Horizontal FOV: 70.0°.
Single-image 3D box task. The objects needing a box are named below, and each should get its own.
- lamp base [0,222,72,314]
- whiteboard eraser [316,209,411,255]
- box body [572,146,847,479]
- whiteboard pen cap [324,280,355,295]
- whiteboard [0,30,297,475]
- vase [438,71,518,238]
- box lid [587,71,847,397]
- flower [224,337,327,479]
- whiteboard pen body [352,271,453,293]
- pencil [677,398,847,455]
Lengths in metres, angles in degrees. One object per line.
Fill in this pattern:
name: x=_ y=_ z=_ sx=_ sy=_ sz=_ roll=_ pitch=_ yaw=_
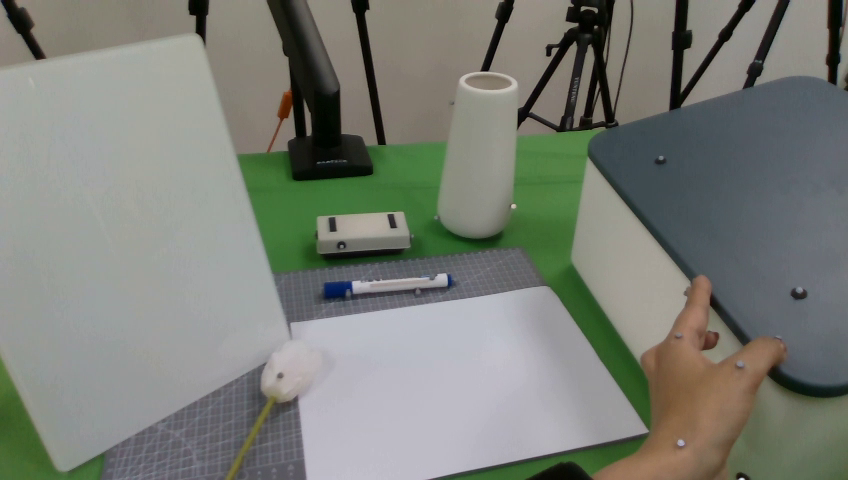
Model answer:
lamp base: x=-0.481 y=-0.033 z=0.619 sx=0.178 sy=0.182 sz=0.160 roll=17 pitch=37 yaw=22
whiteboard eraser: x=-0.075 y=-0.009 z=0.744 sx=0.113 sy=0.042 sz=0.055 roll=-5 pitch=33 yaw=-11
box body: x=0.331 y=0.045 z=0.599 sx=0.255 sy=0.161 sz=0.360 roll=-5 pitch=36 yaw=-12
whiteboard pen cap: x=-0.094 y=0.053 z=0.671 sx=0.033 sy=0.018 sz=0.018 roll=-2 pitch=35 yaw=-12
whiteboard: x=-0.275 y=-0.003 z=0.535 sx=0.217 sy=0.307 sz=0.142 roll=-27 pitch=25 yaw=-35
vase: x=0.072 y=-0.102 z=0.755 sx=0.098 sy=0.201 sz=0.097 roll=3 pitch=35 yaw=-2
box lid: x=0.325 y=-0.040 z=0.517 sx=0.263 sy=0.015 sz=0.367 roll=-18 pitch=37 yaw=1
flower: x=-0.162 y=0.208 z=0.447 sx=0.044 sy=0.038 sz=0.359 roll=17 pitch=41 yaw=9
whiteboard pen body: x=-0.036 y=0.048 z=0.683 sx=0.141 sy=0.017 sz=0.017 roll=-4 pitch=35 yaw=-10
pencil: x=0.325 y=0.172 z=0.538 sx=0.193 sy=0.012 sz=0.012 roll=15 pitch=36 yaw=11
